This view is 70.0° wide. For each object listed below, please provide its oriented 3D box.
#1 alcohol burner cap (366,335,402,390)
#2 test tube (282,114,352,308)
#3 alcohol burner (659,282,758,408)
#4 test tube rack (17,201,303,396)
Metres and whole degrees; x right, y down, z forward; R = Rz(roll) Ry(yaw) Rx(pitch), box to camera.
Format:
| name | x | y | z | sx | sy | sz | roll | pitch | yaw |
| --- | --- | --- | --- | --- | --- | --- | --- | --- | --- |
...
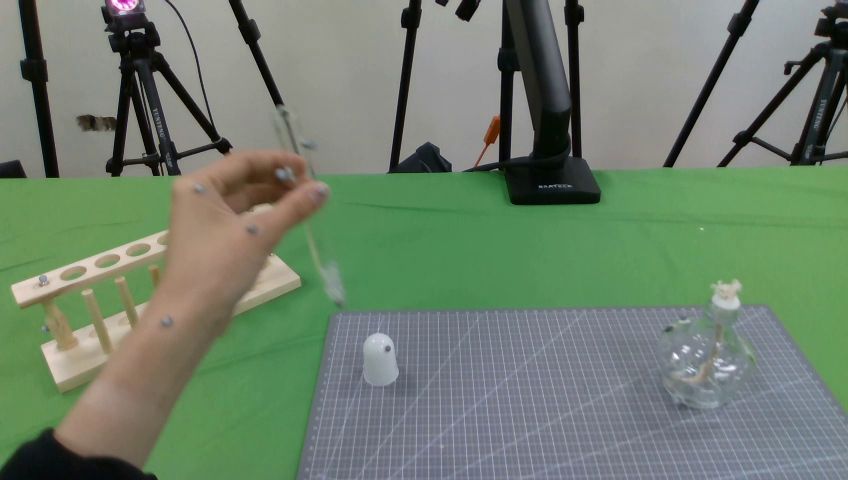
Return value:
| name | x | y | z | sx | sy | sz | roll | pitch | yaw |
| --- | --- | --- | --- | --- | --- | --- | --- | --- | --- |
| alcohol burner cap | -0.037 | 0.106 | 0.542 | 0.034 | 0.048 | 0.033 | -1 | 34 | 1 |
| test tube | -0.068 | -0.012 | 0.401 | 0.017 | 0.151 | 0.017 | -5 | 37 | 4 |
| alcohol burner | 0.238 | 0.081 | 0.501 | 0.078 | 0.120 | 0.077 | -1 | 36 | 1 |
| test tube rack | -0.248 | 0.049 | 0.604 | 0.243 | 0.086 | 0.066 | -25 | 40 | -31 |
